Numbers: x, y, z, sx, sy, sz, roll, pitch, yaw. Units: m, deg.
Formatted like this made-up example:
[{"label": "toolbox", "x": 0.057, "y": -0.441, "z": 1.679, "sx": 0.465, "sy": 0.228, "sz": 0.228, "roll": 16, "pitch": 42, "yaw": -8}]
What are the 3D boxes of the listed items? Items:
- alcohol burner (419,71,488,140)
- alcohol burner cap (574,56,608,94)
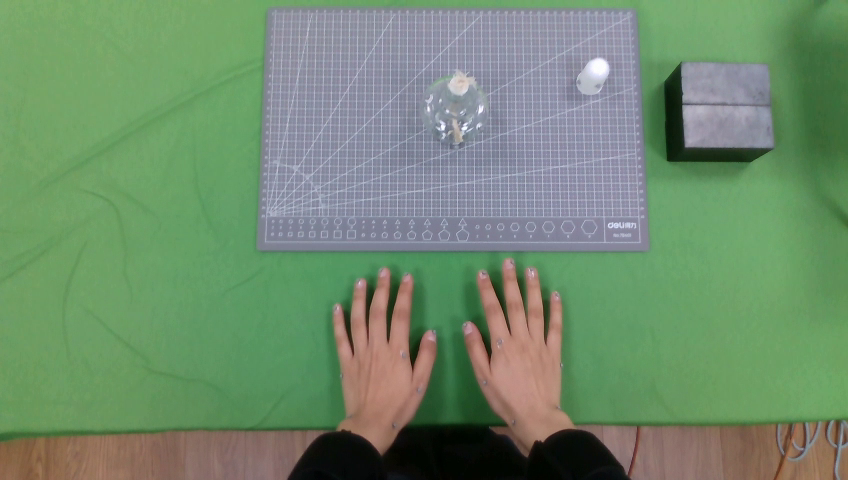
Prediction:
[{"label": "alcohol burner", "x": 0.034, "y": -0.154, "z": 0.663, "sx": 0.078, "sy": 0.119, "sz": 0.077, "roll": 0, "pitch": 81, "yaw": -2}, {"label": "alcohol burner cap", "x": 0.197, "y": -0.195, "z": 0.707, "sx": 0.034, "sy": 0.048, "sz": 0.033, "roll": 0, "pitch": 80, "yaw": 0}]
